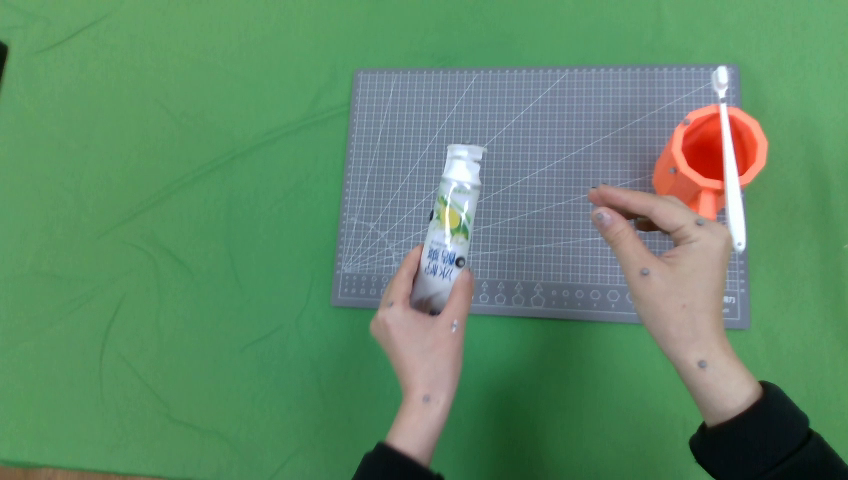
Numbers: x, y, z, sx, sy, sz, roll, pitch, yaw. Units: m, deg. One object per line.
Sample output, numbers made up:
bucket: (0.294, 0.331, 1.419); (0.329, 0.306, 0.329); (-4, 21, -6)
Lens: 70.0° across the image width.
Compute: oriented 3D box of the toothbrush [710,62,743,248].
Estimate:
toothbrush: (0.282, -0.082, 0.563); (0.014, 0.017, 0.181); (-1, 78, 5)

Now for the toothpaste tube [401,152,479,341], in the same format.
toothpaste tube: (0.017, 0.002, 0.525); (0.054, 0.035, 0.165); (16, 101, 28)

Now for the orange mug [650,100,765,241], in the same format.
orange mug: (0.281, -0.065, 0.614); (0.083, 0.101, 0.125); (11, 75, 12)

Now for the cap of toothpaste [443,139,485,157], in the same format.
cap of toothpaste: (0.033, -0.077, 0.510); (0.037, 0.037, 0.011); (2, 88, 10)
